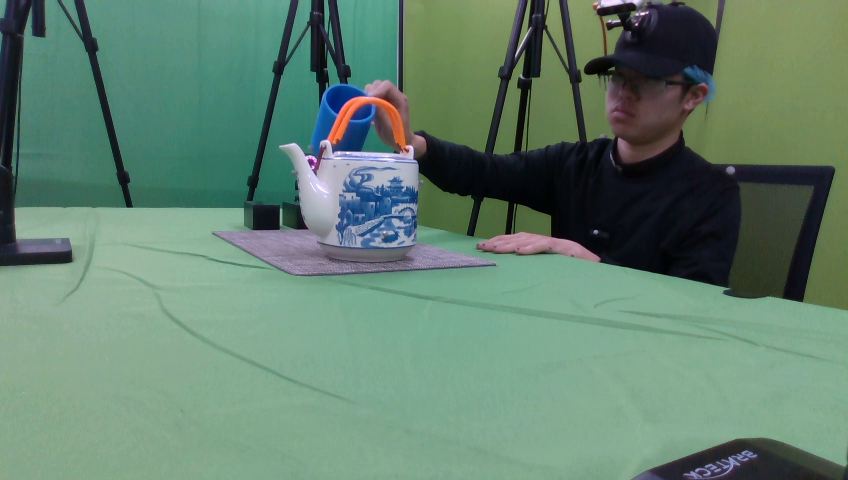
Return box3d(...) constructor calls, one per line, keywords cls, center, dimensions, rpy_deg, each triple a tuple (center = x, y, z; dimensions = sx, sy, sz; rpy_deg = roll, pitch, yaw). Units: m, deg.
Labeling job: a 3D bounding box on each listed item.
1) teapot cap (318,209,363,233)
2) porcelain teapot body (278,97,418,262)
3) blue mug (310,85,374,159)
box3d(cls="teapot cap", center=(-0.158, -0.036, 1.144), dimensions=(0.085, 0.044, 0.085), rpy_deg=(0, 6, 0))
box3d(cls="porcelain teapot body", center=(-0.103, -0.086, 0.842), dimensions=(0.206, 0.225, 0.144), rpy_deg=(-4, 9, -38))
box3d(cls="blue mug", center=(-0.122, -0.188, 0.974), dimensions=(0.082, 0.105, 0.117), rpy_deg=(42, 50, 11))
